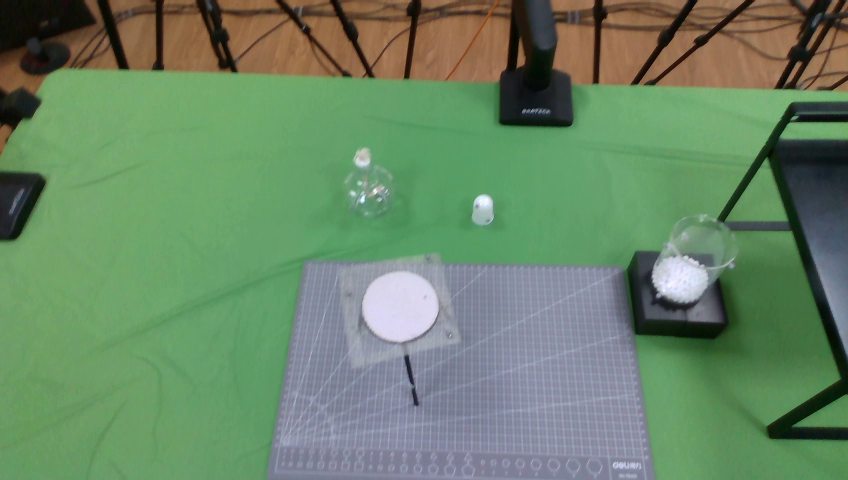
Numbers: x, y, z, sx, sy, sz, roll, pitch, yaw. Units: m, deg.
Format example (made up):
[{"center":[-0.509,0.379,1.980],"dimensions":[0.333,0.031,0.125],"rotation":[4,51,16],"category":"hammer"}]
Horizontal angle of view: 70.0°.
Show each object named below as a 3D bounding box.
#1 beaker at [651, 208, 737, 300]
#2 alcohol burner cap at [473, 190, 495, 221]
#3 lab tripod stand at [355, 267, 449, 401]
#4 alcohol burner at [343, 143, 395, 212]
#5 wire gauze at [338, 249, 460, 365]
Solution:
[{"center":[0.322,0.020,0.736],"dimensions":[0.074,0.101,0.083],"rotation":[10,59,9],"category":"beaker"},{"center":[0.088,-0.053,0.880],"dimensions":[0.034,0.048,0.033],"rotation":[-2,60,4],"category":"alcohol burner cap"},{"center":[-0.024,0.105,0.731],"dimensions":[0.148,0.132,0.147],"rotation":[0,60,0],"category":"lab tripod stand"},{"center":[-0.081,-0.094,0.869],"dimensions":[0.078,0.120,0.077],"rotation":[-2,57,3],"category":"alcohol burner"},{"center":[-0.030,0.069,0.674],"dimensions":[0.121,0.011,0.124],"rotation":[-9,61,-5],"category":"wire gauze"}]
